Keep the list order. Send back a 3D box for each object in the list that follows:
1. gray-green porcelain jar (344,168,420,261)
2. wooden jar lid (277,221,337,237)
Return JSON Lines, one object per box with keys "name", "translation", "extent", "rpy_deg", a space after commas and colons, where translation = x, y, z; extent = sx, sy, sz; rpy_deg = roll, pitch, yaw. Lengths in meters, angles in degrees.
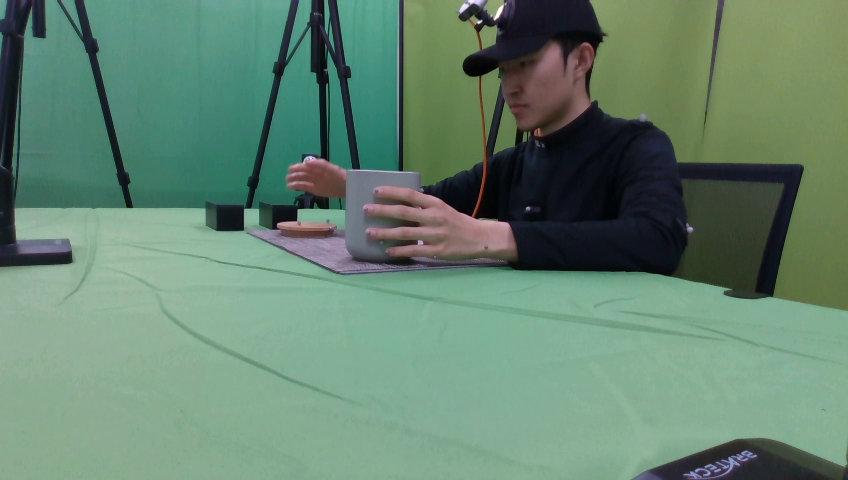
{"name": "gray-green porcelain jar", "translation": [-0.059, -0.037, 0.857], "extent": [0.106, 0.126, 0.106], "rpy_deg": [2, 7, 0]}
{"name": "wooden jar lid", "translation": [-0.215, -0.021, 1.112], "extent": [0.108, 0.020, 0.108], "rpy_deg": [3, 7, 0]}
